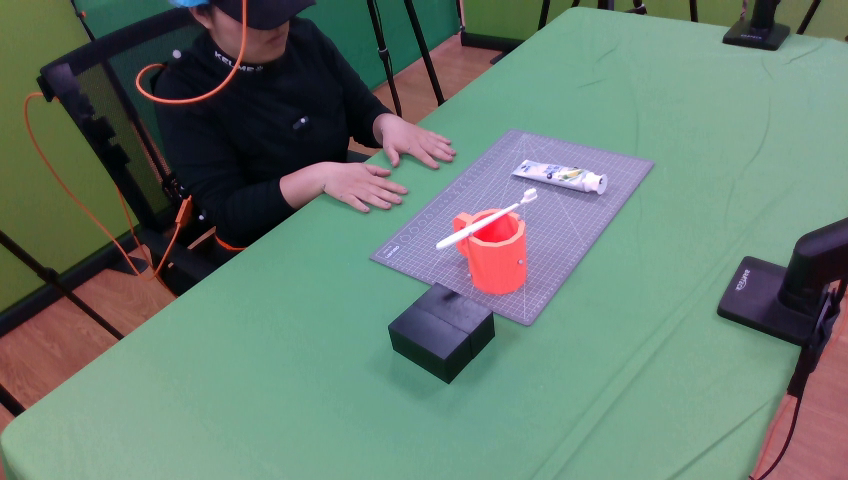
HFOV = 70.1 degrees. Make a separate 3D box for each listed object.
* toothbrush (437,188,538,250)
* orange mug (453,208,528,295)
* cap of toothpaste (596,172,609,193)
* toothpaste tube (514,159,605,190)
[{"bbox_3d":[0.093,-0.031,0.860,0.182,0.017,0.014,-28,51,-21],"label":"toothbrush"},{"bbox_3d":[0.094,0.009,0.894,0.125,0.101,0.084,32,55,33],"label":"orange mug"},{"bbox_3d":[0.301,-0.098,1.022,0.011,0.037,0.037,19,48,39],"label":"cap of toothpaste"},{"bbox_3d":[0.242,-0.117,1.069,0.164,0.035,0.055,17,43,35],"label":"toothpaste tube"}]
